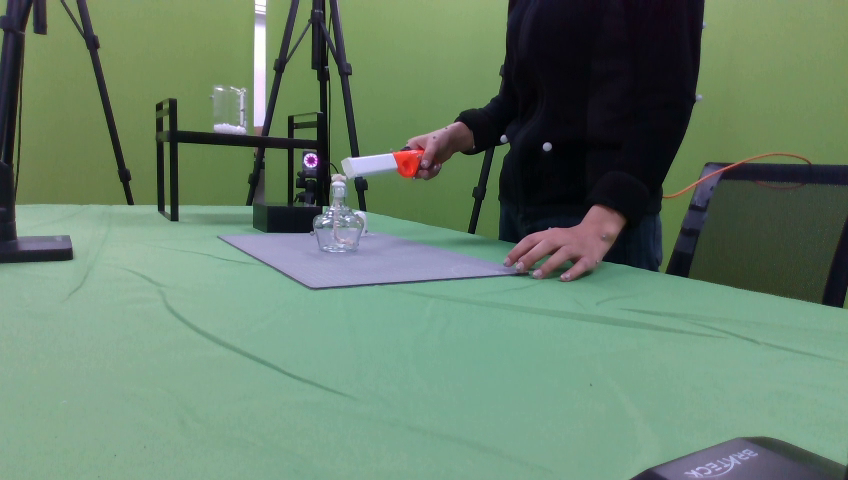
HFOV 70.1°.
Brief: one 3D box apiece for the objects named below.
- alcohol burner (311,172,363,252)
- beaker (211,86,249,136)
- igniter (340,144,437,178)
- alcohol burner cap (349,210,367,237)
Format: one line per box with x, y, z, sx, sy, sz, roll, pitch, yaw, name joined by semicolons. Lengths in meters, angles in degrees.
-0.130;-0.042;0.906;0.078;0.119;0.078;2;5;0;alcohol burner
-0.413;-0.274;1.297;0.074;0.100;0.083;-5;11;-44;beaker
-0.050;-0.135;1.037;0.025;0.057;0.278;-22;-1;31;igniter
-0.118;-0.030;1.095;0.034;0.048;0.034;2;8;0;alcohol burner cap
